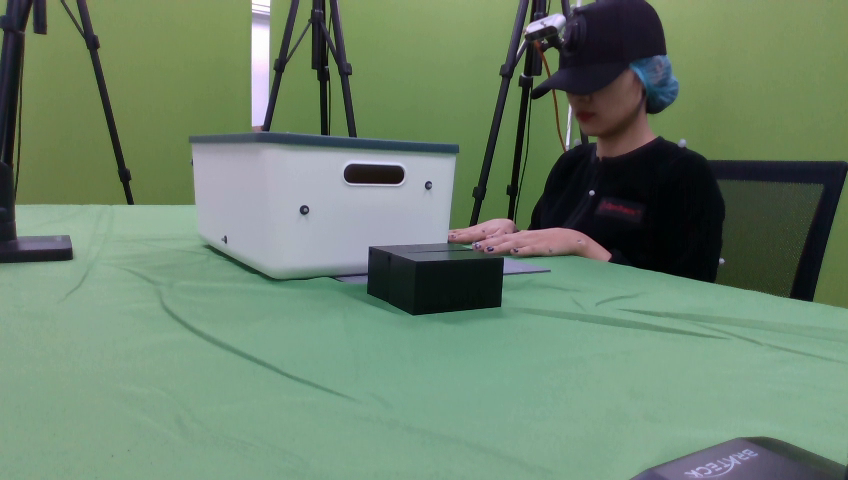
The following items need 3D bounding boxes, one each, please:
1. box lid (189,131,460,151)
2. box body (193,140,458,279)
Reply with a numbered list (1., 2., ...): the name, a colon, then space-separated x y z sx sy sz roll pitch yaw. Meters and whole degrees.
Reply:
1. box lid: -0.150 -0.132 0.828 0.265 0.015 0.369 -3 9 -33
2. box body: -0.154 -0.059 0.840 0.255 0.160 0.362 -2 9 -33
